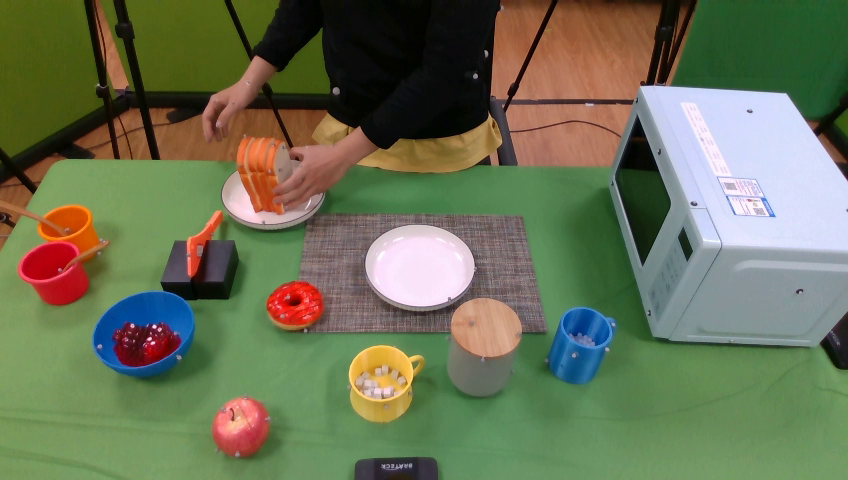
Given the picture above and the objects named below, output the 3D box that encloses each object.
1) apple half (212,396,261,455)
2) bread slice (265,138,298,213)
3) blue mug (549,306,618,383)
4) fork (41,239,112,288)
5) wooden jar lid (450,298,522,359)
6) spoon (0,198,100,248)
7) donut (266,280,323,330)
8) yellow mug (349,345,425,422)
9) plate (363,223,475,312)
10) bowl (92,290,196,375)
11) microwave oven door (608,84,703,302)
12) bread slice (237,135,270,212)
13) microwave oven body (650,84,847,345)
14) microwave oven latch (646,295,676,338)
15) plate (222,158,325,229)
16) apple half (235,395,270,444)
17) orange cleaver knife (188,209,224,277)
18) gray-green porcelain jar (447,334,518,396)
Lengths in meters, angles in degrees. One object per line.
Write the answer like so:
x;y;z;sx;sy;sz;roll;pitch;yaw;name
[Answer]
-0.276;0.276;0.877;0.053;0.075;0.080;-29;58;-21;apple half
-0.284;-0.134;1.213;0.019;0.132;0.104;0;46;8;bread slice
0.269;0.167;0.997;0.116;0.106;0.082;-19;50;-21;blue mug
-0.591;0.040;1.028;0.207;0.019;0.028;-27;37;29;fork
0.093;0.135;0.914;0.108;0.021;0.107;2;48;-3;wooden jar lid
-0.684;-0.035;1.092;0.021;0.195;0.041;-32;42;28;spoon
-0.223;0.113;1.051;0.099;0.048;0.098;2;46;-2;donut
-0.054;0.217;0.954;0.131;0.064;0.099;-24;52;-25;yellow mug
-0.009;0.054;1.126;0.208;0.039;0.206;2;46;-2;plate
-0.436;0.161;0.971;0.151;0.077;0.150;2;46;-2;bowl
0.424;-0.096;1.138;0.039;0.245;0.353;3;46;-1;microwave oven door
-0.339;-0.142;1.218;0.018;0.135;0.106;-3;45;6;bread slice
0.569;-0.054;1.116;0.326;0.261;0.439;2;46;-1;microwave oven body
0.413;0.133;1.061;0.030;0.029;0.078;4;46;1;microwave oven latch
-0.308;-0.094;1.251;0.209;0.038;0.208;2;46;-2;plate
-0.245;0.260;0.893;0.033;0.082;0.081;-29;55;-22;apple half
-0.402;0.000;1.123;0.012;0.077;0.210;1;22;-3;orange cleaver knife
0.091;0.178;0.960;0.106;0.127;0.105;2;46;-2;gray-green porcelain jar
